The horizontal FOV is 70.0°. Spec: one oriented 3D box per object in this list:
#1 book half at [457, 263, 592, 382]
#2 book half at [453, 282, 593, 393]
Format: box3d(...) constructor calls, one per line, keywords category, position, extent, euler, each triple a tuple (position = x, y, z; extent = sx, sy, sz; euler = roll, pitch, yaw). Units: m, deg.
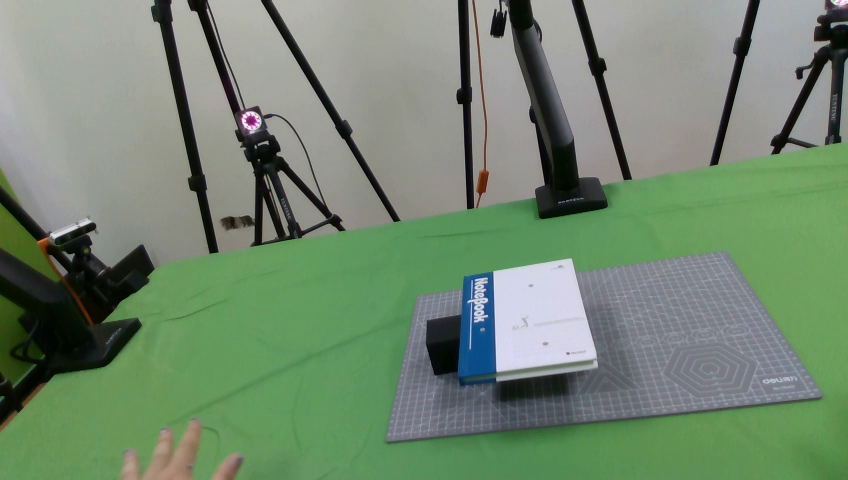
box3d(category="book half", position=(0.113, 0.091, 0.721), extent=(0.143, 0.007, 0.208), euler=(-10, 25, 10))
box3d(category="book half", position=(0.111, 0.098, 0.725), extent=(0.148, 0.016, 0.209), euler=(-10, 26, 11))
